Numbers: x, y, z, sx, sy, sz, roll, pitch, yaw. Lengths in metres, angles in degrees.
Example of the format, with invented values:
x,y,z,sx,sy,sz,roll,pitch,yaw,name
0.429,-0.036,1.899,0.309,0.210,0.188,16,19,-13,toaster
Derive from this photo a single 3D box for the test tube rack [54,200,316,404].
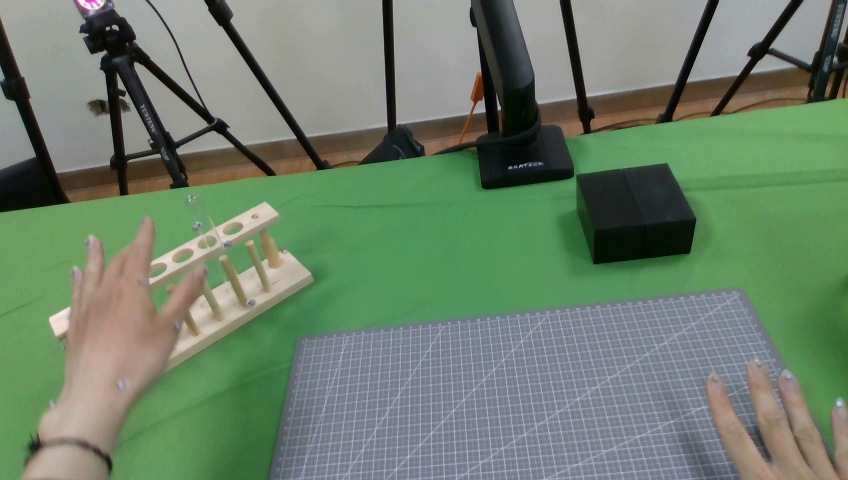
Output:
x,y,z,sx,sy,sz,roll,pitch,yaw,name
-0.245,0.060,0.648,0.242,0.086,0.066,-33,45,-23,test tube rack

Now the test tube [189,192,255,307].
x,y,z,sx,sy,sz,roll,pitch,yaw,name
-0.206,0.013,0.624,0.017,0.152,0.017,-7,39,6,test tube
